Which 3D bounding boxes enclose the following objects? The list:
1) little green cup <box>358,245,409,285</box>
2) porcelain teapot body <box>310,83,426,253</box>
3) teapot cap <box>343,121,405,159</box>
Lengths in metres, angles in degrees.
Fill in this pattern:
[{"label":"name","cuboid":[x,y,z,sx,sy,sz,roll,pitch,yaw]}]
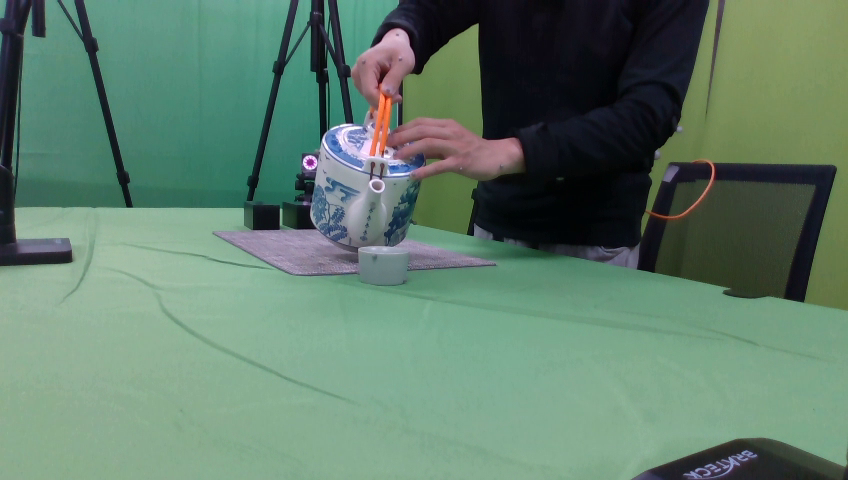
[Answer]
[{"label":"little green cup","cuboid":[-0.048,0.029,0.707,0.061,0.038,0.061,2,8,0]},{"label":"porcelain teapot body","cuboid":[-0.069,-0.085,0.806,0.146,0.225,0.205,8,35,-14]},{"label":"teapot cap","cuboid":[-0.065,-0.135,0.807,0.085,0.044,0.085,12,34,-8]}]
